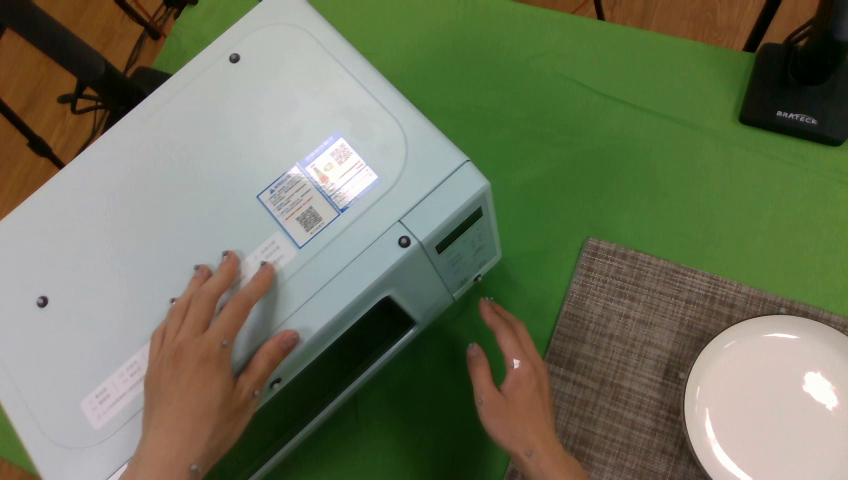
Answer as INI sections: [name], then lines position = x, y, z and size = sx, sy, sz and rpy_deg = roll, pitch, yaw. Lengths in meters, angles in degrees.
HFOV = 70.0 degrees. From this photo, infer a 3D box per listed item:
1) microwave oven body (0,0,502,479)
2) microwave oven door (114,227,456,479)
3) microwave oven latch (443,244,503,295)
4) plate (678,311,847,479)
[microwave oven body]
position = -0.187, 0.017, 0.651
size = 0.441, 0.262, 0.324
rpy_deg = -42, 72, -3
[microwave oven door]
position = -0.124, 0.144, 0.597
size = 0.355, 0.245, 0.039
rpy_deg = -42, 70, -4
[microwave oven latch]
position = 0.057, 0.028, 0.708
size = 0.079, 0.030, 0.030
rpy_deg = -40, 72, -3
[plate]
position = 0.368, 0.179, 0.624
size = 0.207, 0.039, 0.206
rpy_deg = -3, 73, 9
